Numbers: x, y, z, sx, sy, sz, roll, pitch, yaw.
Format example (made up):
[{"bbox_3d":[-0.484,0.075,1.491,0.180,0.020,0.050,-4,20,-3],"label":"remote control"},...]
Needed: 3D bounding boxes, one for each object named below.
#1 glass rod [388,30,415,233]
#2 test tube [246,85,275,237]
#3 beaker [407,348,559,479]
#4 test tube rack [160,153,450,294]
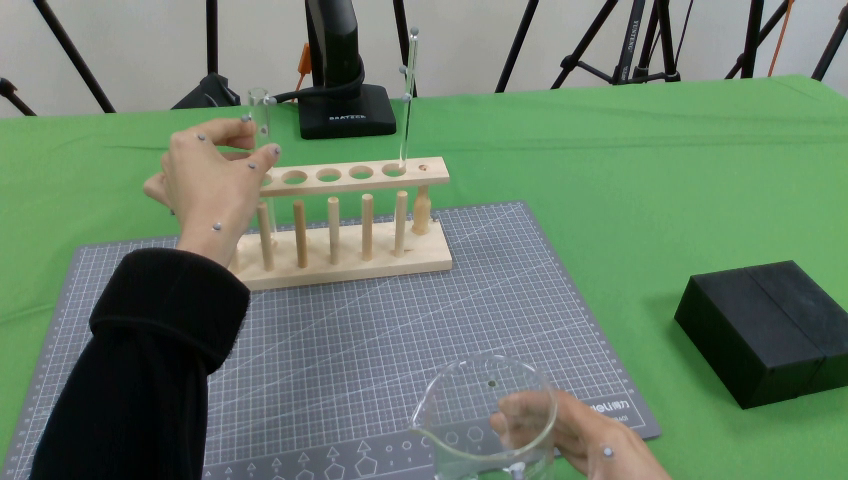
[{"bbox_3d":[-0.021,-0.083,0.523,0.008,0.201,0.008,5,41,-4],"label":"glass rod"},{"bbox_3d":[-0.138,-0.061,0.516,0.017,0.151,0.017,5,41,-4],"label":"test tube"},{"bbox_3d":[0.037,0.126,0.355,0.084,0.101,0.073,-12,33,-5],"label":"beaker"},{"bbox_3d":[-0.099,-0.017,0.544,0.243,0.086,0.066,-5,40,-10],"label":"test tube rack"}]
